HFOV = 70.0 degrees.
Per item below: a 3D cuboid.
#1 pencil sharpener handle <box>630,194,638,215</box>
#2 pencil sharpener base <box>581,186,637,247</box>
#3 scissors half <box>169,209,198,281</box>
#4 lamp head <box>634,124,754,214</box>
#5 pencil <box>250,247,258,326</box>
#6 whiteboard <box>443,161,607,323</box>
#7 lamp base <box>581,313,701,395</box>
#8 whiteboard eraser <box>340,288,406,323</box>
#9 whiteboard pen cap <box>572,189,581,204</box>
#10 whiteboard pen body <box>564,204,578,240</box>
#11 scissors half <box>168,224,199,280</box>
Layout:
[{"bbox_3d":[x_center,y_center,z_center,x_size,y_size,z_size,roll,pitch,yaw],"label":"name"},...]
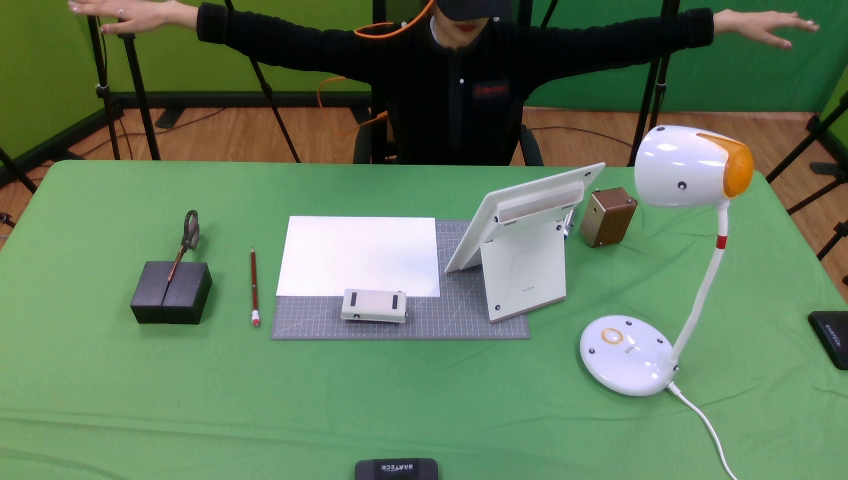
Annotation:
[{"bbox_3d":[0.417,-0.068,1.215,0.031,0.068,0.036,-11,60,-15],"label":"pencil sharpener handle"},{"bbox_3d":[0.369,-0.047,1.209,0.077,0.107,0.061,-11,47,-15],"label":"pencil sharpener base"},{"bbox_3d":[-0.438,0.007,1.099,0.013,0.040,0.174,5,47,-5],"label":"scissors half"},{"bbox_3d":[0.351,-0.089,0.775,0.112,0.113,0.122,-30,30,-28],"label":"lamp head"},{"bbox_3d":[-0.312,0.079,1.107,0.012,0.012,0.192,-7,46,-11],"label":"pencil"},{"bbox_3d":[0.185,0.025,1.029,0.217,0.306,0.143,-15,68,-18],"label":"whiteboard"},{"bbox_3d":[0.361,0.144,0.972,0.178,0.181,0.160,34,53,23],"label":"lamp base"},{"bbox_3d":[-0.088,0.117,1.060,0.113,0.042,0.055,3,45,-1],"label":"whiteboard eraser"},{"bbox_3d":[0.329,-0.093,1.307,0.018,0.018,0.033,18,51,13],"label":"whiteboard pen cap"},{"bbox_3d":[0.307,-0.052,1.270,0.017,0.017,0.140,17,49,12],"label":"whiteboard pen body"},{"bbox_3d":[-0.441,0.023,1.111,0.013,0.040,0.174,9,29,-8],"label":"scissors half"}]
